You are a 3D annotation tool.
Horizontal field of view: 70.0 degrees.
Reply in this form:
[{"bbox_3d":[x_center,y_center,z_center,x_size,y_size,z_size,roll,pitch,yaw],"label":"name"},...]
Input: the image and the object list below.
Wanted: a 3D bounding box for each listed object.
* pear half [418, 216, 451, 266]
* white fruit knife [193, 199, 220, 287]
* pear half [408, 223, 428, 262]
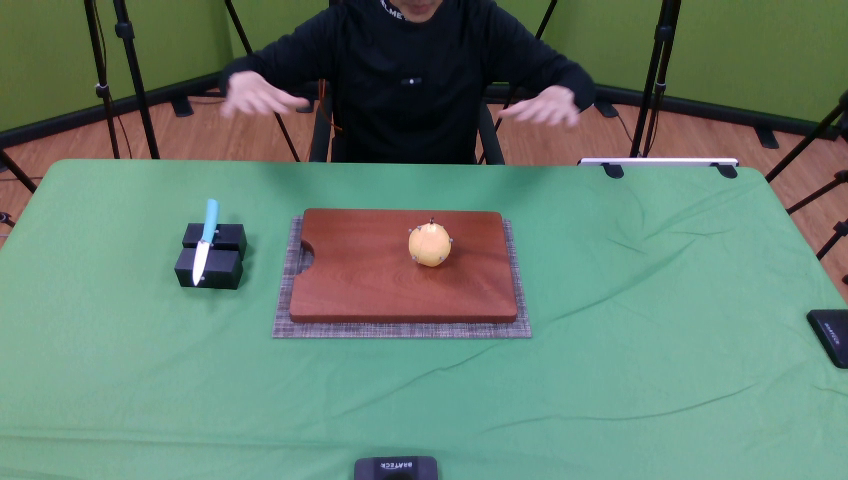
[{"bbox_3d":[0.023,-0.001,1.096,0.056,0.110,0.076,9,50,3],"label":"pear half"},{"bbox_3d":[-0.396,0.002,1.103,0.027,0.016,0.206,-8,51,5],"label":"white fruit knife"},{"bbox_3d":[-0.013,-0.001,1.107,0.031,0.088,0.070,8,53,2],"label":"pear half"}]
